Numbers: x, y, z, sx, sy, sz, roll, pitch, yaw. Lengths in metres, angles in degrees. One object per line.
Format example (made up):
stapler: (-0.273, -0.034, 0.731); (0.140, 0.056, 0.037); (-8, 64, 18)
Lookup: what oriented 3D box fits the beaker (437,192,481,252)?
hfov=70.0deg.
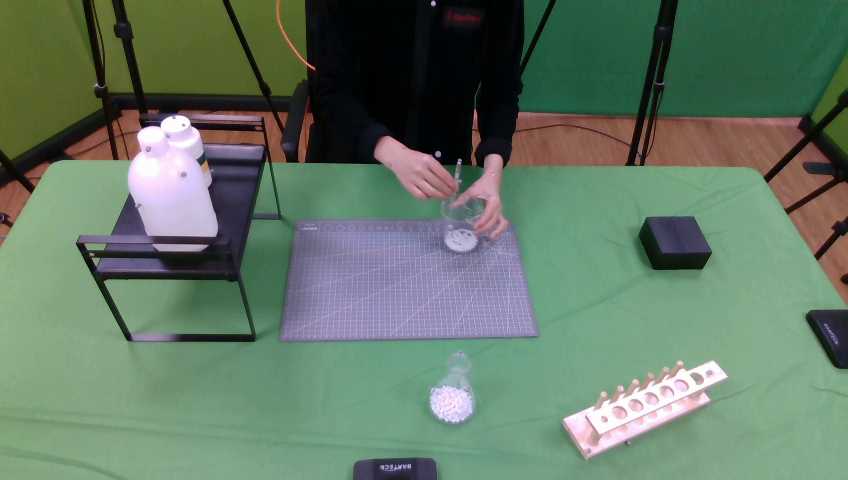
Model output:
beaker: (0.069, -0.030, 1.165); (0.084, 0.101, 0.073); (13, 52, 15)

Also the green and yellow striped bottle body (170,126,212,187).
green and yellow striped bottle body: (-0.389, -0.139, 0.984); (0.063, 0.120, 0.063); (2, 46, -2)

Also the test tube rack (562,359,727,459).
test tube rack: (0.341, 0.247, 0.940); (0.243, 0.085, 0.066); (-16, 49, -18)

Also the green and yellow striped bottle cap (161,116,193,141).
green and yellow striped bottle cap: (-0.387, -0.174, 0.946); (0.045, 0.020, 0.045); (3, 44, -3)

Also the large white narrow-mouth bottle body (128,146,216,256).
large white narrow-mouth bottle body: (-0.366, -0.073, 0.872); (0.102, 0.195, 0.101); (3, 47, -3)

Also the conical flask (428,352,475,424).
conical flask: (0.046, 0.220, 0.920); (0.075, 0.122, 0.075); (2, 46, -2)

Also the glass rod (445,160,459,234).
glass rod: (0.050, -0.074, 1.116); (0.008, 0.200, 0.008); (2, 51, -3)

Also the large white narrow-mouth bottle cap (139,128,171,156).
large white narrow-mouth bottle cap: (-0.358, -0.131, 0.807); (0.038, 0.024, 0.037); (3, 47, -3)
